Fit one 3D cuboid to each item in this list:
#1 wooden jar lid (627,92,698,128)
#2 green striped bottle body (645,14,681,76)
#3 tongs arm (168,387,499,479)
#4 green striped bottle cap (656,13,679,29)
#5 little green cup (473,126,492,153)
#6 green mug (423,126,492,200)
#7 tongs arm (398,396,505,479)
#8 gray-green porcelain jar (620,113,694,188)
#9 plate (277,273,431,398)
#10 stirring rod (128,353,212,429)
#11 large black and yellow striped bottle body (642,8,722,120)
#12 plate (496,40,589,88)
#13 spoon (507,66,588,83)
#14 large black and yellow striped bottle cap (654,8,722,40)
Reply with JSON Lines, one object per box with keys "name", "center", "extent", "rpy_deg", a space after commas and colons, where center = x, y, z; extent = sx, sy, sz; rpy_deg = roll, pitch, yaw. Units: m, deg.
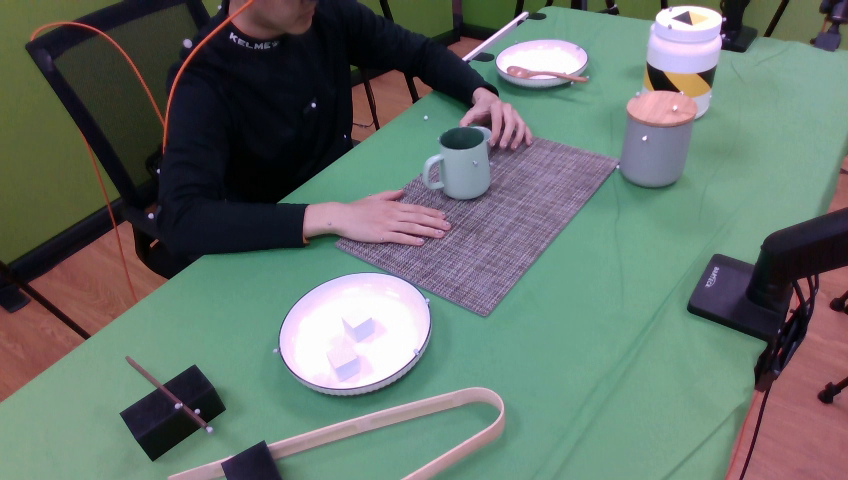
{"name": "wooden jar lid", "center": [0.384, -0.207, 0.980], "extent": [0.108, 0.021, 0.108], "rpy_deg": [-6, 39, 5]}
{"name": "green striped bottle body", "center": [0.520, -0.424, 1.312], "extent": [0.063, 0.120, 0.063], "rpy_deg": [-4, 41, 4]}
{"name": "tongs arm", "center": [-0.100, 0.230, 0.711], "extent": [0.388, 0.028, 0.028], "rpy_deg": [-13, 32, -7]}
{"name": "green striped bottle cap", "center": [0.515, -0.463, 1.278], "extent": [0.044, 0.020, 0.044], "rpy_deg": [-6, 42, 6]}
{"name": "little green cup", "center": [0.099, -0.185, 1.151], "extent": [0.061, 0.039, 0.061], "rpy_deg": [-1, 41, 2]}
{"name": "green mug", "center": [0.055, -0.125, 1.039], "extent": [0.126, 0.105, 0.091], "rpy_deg": [-25, 44, -18]}
{"name": "tongs arm", "center": [-0.071, 0.272, 0.652], "extent": [0.386, 0.026, 0.050], "rpy_deg": [-21, 37, -17]}
{"name": "gray-green porcelain jar", "center": [0.390, -0.161, 1.020], "extent": [0.106, 0.127, 0.105], "rpy_deg": [-4, 41, 4]}
{"name": "plate", "center": [-0.091, 0.129, 0.821], "extent": [0.207, 0.039, 0.206], "rpy_deg": [-4, 40, 4]}
{"name": "stirring rod", "center": [-0.311, 0.180, 0.732], "extent": [0.175, 0.014, 0.006], "rpy_deg": [25, 54, 31]}
{"name": "large black and yellow striped bottle body", "center": [0.493, -0.334, 1.161], "extent": [0.131, 0.185, 0.130], "rpy_deg": [-4, 41, 4]}
{"name": "plate", "center": [0.269, -0.398, 1.381], "extent": [0.209, 0.038, 0.208], "rpy_deg": [-4, 41, 4]}
{"name": "spoon", "center": [0.265, -0.357, 1.311], "extent": [0.192, 0.022, 0.042], "rpy_deg": [18, 47, 38]}
{"name": "large black and yellow striped bottle cap", "center": [0.483, -0.397, 1.108], "extent": [0.115, 0.019, 0.114], "rpy_deg": [-3, 41, 3]}
